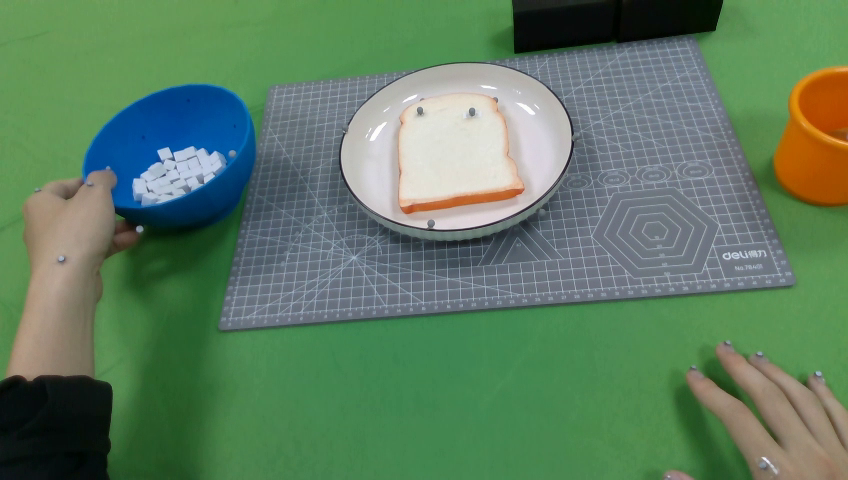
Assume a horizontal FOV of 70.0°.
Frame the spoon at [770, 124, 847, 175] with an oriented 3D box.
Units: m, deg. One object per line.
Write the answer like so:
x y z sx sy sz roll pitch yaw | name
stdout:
0.352 -0.094 0.438 0.022 0.193 0.041 30 56 -24 | spoon

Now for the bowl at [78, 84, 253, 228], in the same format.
-0.220 -0.063 0.555 0.151 0.077 0.150 -4 54 6 | bowl

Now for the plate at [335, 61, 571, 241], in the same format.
0.025 -0.080 0.548 0.209 0.038 0.207 -5 55 7 | plate

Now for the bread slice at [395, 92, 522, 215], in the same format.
0.022 -0.083 0.553 0.107 0.018 0.133 -11 55 2 | bread slice
